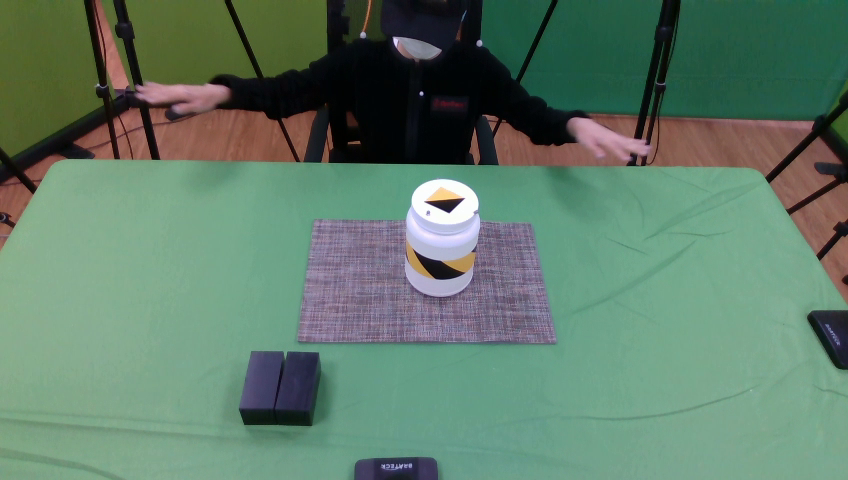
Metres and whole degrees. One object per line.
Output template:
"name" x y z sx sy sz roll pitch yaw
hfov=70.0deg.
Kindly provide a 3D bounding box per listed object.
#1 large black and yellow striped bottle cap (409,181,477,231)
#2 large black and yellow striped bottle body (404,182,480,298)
"large black and yellow striped bottle cap" 0.033 -0.059 1.023 0.115 0.019 0.114 3 44 -2
"large black and yellow striped bottle body" 0.030 -0.001 1.083 0.131 0.185 0.130 2 46 -2
